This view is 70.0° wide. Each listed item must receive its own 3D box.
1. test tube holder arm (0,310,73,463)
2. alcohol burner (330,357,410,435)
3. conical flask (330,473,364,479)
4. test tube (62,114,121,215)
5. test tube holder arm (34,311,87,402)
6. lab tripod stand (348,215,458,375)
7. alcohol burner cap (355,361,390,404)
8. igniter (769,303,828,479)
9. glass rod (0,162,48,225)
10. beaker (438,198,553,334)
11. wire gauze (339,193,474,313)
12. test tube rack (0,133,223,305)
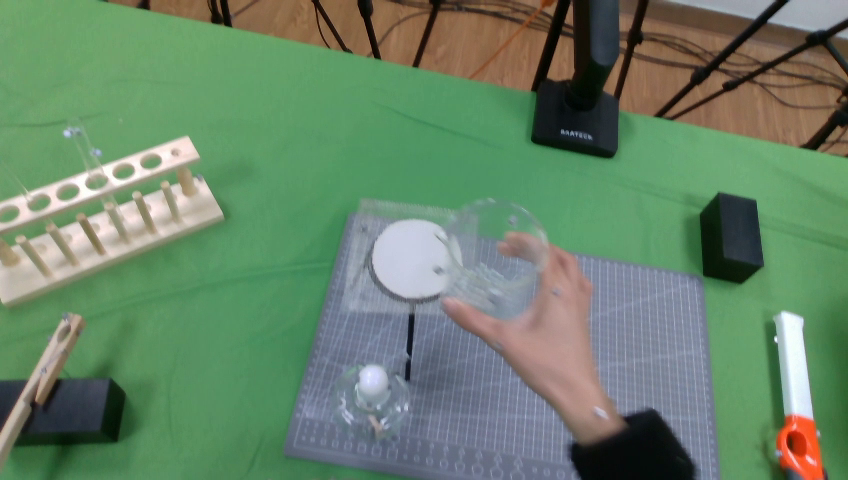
[{"bbox_3d":[-0.360,0.145,0.547,0.013,0.015,0.177,13,58,1],"label":"test tube holder arm"},{"bbox_3d":[-0.051,0.145,0.584,0.078,0.120,0.077,4,58,-7],"label":"alcohol burner"},{"bbox_3d":[-0.068,0.234,0.527,0.075,0.123,0.074,4,57,-6],"label":"conical flask"},{"bbox_3d":[-0.346,-0.072,0.637,0.017,0.151,0.017,4,55,-6],"label":"test tube"},{"bbox_3d":[-0.345,0.109,0.571,0.010,0.015,0.087,14,58,1],"label":"test tube holder arm"},{"bbox_3d":[-0.016,0.050,0.632,0.149,0.132,0.147,4,60,-6],"label":"lab tripod stand"},{"bbox_3d":[-0.047,0.128,0.552,0.034,0.048,0.033,1,62,-2],"label":"alcohol burner cap"},{"bbox_3d":[0.407,0.197,0.663,0.057,0.025,0.274,18,59,-8],"label":"igniter"},{"bbox_3d":[-0.405,-0.055,0.598,0.008,0.201,0.008,1,55,-1],"label":"glass rod"},{"bbox_3d":[0.050,0.025,0.475,0.084,0.101,0.073,10,59,4],"label":"beaker"},{"bbox_3d":[-0.012,0.012,0.576,0.121,0.011,0.124,6,61,-4],"label":"wire gauze"},{"bbox_3d":[-0.357,-0.026,0.665,0.242,0.086,0.066,-26,66,-20],"label":"test tube rack"}]
